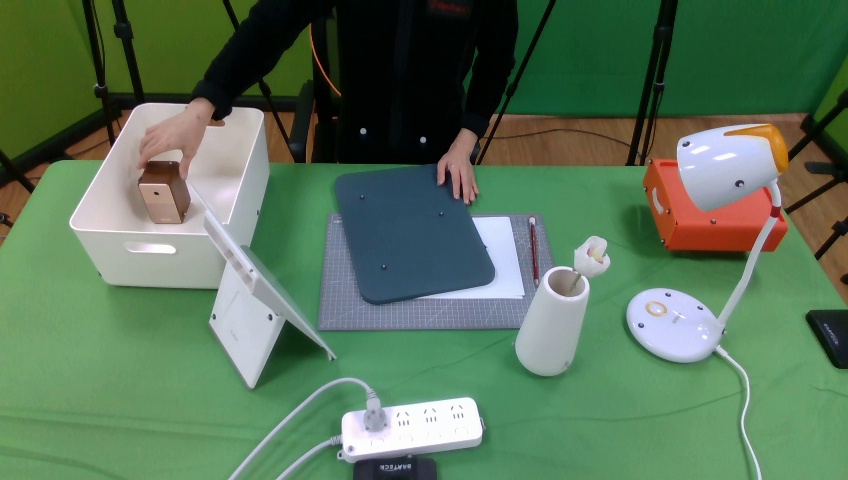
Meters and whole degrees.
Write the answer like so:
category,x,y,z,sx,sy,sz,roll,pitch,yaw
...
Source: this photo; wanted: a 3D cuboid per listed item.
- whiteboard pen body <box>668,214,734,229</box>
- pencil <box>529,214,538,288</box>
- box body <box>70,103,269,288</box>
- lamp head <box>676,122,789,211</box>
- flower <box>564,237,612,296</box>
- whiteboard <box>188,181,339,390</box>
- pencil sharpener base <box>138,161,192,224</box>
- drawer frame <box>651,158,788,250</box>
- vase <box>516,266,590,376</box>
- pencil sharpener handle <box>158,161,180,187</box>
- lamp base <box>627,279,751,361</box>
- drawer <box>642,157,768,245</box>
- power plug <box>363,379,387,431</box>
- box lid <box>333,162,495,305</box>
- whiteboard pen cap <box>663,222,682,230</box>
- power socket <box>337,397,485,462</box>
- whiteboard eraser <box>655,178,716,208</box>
category,x,y,z,sx,sy,sz,roll,pitch,yaw
whiteboard pen body,0.547,-0.035,1.200,0.141,0.017,0.017,-8,48,-9
pencil,0.219,0.019,1.202,0.012,0.012,0.193,5,48,1
box body,-0.450,-0.087,1.149,0.254,0.161,0.361,2,46,-2
lamp head,0.423,-0.104,0.819,0.122,0.113,0.112,-13,33,40
flower,0.206,0.088,0.893,0.038,0.363,0.044,-16,67,-9
whiteboard,-0.292,0.096,0.929,0.144,0.307,0.216,-38,57,-11
pencil sharpener base,-0.502,-0.094,1.181,0.061,0.107,0.076,0,45,-2
drawer frame,0.571,-0.074,1.213,0.214,0.083,0.200,1,46,0
vase,0.208,0.132,0.964,0.098,0.201,0.097,3,46,-3
pencil sharpener handle,-0.503,-0.138,1.208,0.036,0.068,0.030,2,45,-3
lamp base,0.459,0.100,1.027,0.178,0.181,0.160,27,51,17
drawer,0.564,-0.075,1.210,0.212,0.073,0.193,3,45,-1
power plug,-0.072,0.252,0.910,0.035,0.053,0.072,3,45,-1
box lid,-0.031,-0.028,1.228,0.264,0.015,0.369,-9,47,-13
whiteboard pen cap,0.487,-0.027,1.188,0.033,0.018,0.018,0,46,-15
power socket,-0.018,0.285,0.915,0.227,0.033,0.071,-5,46,-8
whiteboard eraser,0.538,-0.095,1.251,0.113,0.042,0.055,4,52,-10
